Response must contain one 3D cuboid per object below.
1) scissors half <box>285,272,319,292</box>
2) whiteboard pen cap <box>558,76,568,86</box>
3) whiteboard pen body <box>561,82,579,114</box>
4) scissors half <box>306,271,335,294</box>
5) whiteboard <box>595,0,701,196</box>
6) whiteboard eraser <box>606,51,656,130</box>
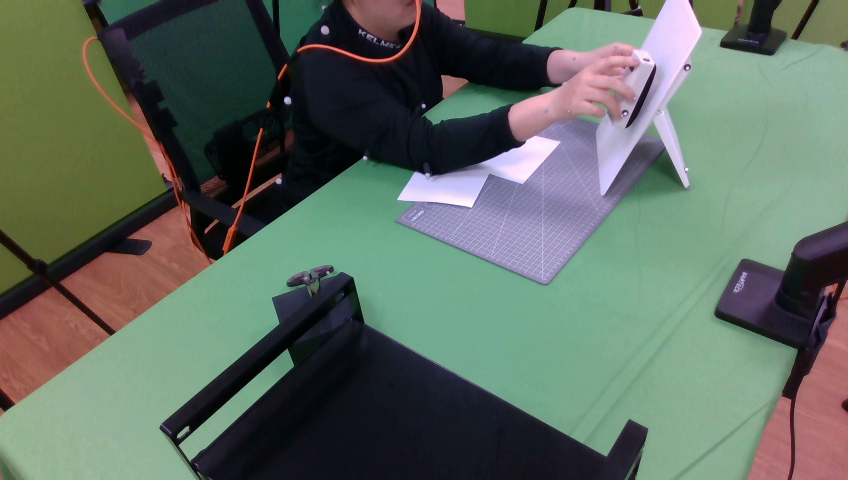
[{"bbox_3d":[-0.172,0.063,0.868,0.040,0.013,0.174,-11,7,-21],"label":"scissors half"},{"bbox_3d":[0.310,-0.350,1.340,0.018,0.018,0.033,-6,40,2],"label":"whiteboard pen cap"},{"bbox_3d":[0.311,-0.311,1.298,0.017,0.017,0.140,-5,41,3],"label":"whiteboard pen body"},{"bbox_3d":[-0.152,0.061,0.872,0.040,0.013,0.175,-4,6,-4],"label":"scissors half"},{"bbox_3d":[0.421,-0.227,1.010,0.144,0.305,0.216,18,42,-2],"label":"whiteboard"},{"bbox_3d":[0.327,-0.233,0.950,0.042,0.113,0.055,13,37,-2],"label":"whiteboard eraser"}]
